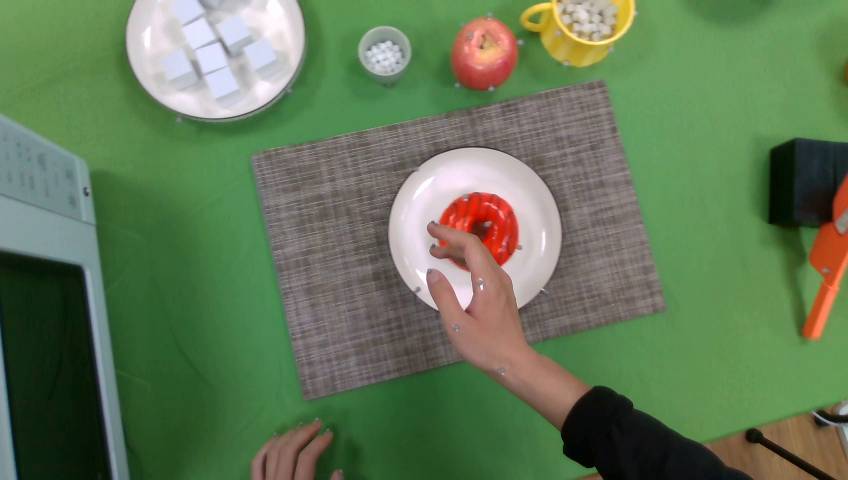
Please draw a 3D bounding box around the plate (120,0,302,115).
[{"bbox_3d":[-0.249,-0.247,0.724,0.208,0.039,0.207,0,84,-4],"label":"plate"}]

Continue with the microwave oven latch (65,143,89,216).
[{"bbox_3d":[-0.398,-0.066,0.676,0.030,0.029,0.079,-9,86,-6],"label":"microwave oven latch"}]

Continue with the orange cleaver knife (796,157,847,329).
[{"bbox_3d":[0.484,0.006,0.728,0.012,0.076,0.212,6,116,-1],"label":"orange cleaver knife"}]

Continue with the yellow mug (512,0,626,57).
[{"bbox_3d":[0.173,-0.284,0.745,0.131,0.064,0.099,-3,84,-4],"label":"yellow mug"}]

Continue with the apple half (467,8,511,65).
[{"bbox_3d":[0.082,-0.249,0.731,0.033,0.081,0.081,-41,88,-3],"label":"apple half"}]

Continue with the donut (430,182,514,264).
[{"bbox_3d":[0.057,-0.020,0.709,0.099,0.048,0.099,0,86,-3],"label":"donut"}]

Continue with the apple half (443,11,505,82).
[{"bbox_3d":[0.052,-0.223,0.727,0.053,0.074,0.081,-40,92,-3],"label":"apple half"}]

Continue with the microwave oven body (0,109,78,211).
[{"bbox_3d":[-0.503,0.123,0.552,0.326,0.260,0.440,-11,86,-6],"label":"microwave oven body"}]

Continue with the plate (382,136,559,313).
[{"bbox_3d":[0.054,-0.018,0.720,0.209,0.038,0.208,0,84,-4],"label":"plate"}]

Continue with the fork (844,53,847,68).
[{"bbox_3d":[0.634,-0.247,0.733,0.206,0.019,0.028,-10,80,39],"label":"fork"}]

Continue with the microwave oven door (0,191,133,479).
[{"bbox_3d":[-0.351,0.137,0.557,0.039,0.244,0.355,-11,85,-5],"label":"microwave oven door"}]

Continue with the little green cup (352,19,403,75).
[{"bbox_3d":[-0.056,-0.232,0.737,0.061,0.038,0.061,0,84,-4],"label":"little green cup"}]
